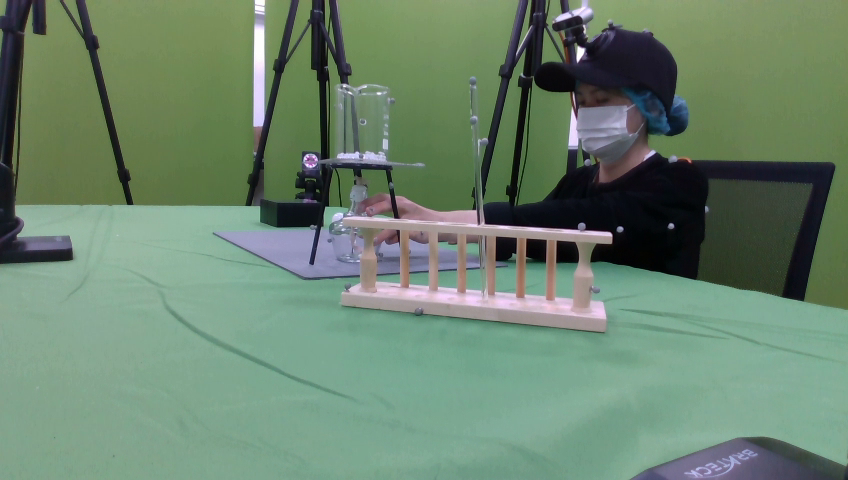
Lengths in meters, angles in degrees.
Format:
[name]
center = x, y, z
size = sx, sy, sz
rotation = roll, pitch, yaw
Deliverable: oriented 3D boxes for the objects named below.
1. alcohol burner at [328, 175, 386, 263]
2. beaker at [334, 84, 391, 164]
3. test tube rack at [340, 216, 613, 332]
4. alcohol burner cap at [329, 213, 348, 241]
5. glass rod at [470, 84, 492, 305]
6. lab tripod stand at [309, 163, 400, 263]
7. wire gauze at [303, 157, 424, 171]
[alcohol burner]
center = -0.090, -0.028, 0.822
size = 0.078, 0.119, 0.078
rotation = 3, 4, 0
[beaker]
center = -0.082, -0.149, 0.791
size = 0.074, 0.100, 0.084
rotation = 2, 5, 4
[test tube rack]
center = 0.047, 0.026, 0.568
size = 0.242, 0.085, 0.067
rotation = 4, 8, 13
[alcohol burner cap]
center = -0.148, -0.024, 1.050
size = 0.034, 0.048, 0.034
rotation = 3, 7, 0
[glass rod]
center = 0.051, -0.036, 0.535
size = 0.008, 0.199, 0.008
rotation = -5, 10, 1
[lab tripod stand]
center = -0.091, -0.037, 0.813
size = 0.148, 0.131, 0.148
rotation = 1, 6, 0
[wire gauze]
center = -0.082, -0.101, 0.799
size = 0.126, 0.011, 0.121
rotation = 1, 7, -30
